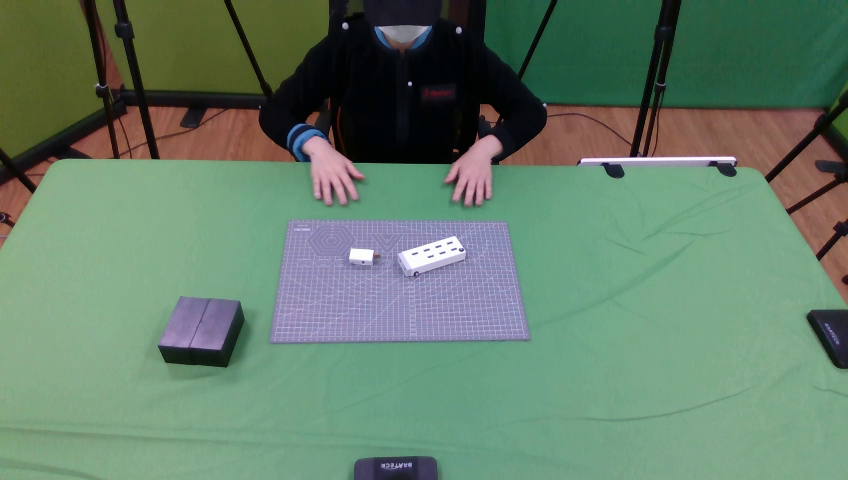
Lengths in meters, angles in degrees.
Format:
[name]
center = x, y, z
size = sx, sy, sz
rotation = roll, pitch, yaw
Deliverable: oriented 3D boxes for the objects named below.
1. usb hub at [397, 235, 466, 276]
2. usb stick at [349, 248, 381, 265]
[usb hub]
center = 0.015, 0.030, 1.162
size = 0.125, 0.025, 0.049
rotation = -17, 51, -19
[usb stick]
center = -0.112, 0.032, 1.151
size = 0.059, 0.021, 0.027
rotation = 2, 57, 0
